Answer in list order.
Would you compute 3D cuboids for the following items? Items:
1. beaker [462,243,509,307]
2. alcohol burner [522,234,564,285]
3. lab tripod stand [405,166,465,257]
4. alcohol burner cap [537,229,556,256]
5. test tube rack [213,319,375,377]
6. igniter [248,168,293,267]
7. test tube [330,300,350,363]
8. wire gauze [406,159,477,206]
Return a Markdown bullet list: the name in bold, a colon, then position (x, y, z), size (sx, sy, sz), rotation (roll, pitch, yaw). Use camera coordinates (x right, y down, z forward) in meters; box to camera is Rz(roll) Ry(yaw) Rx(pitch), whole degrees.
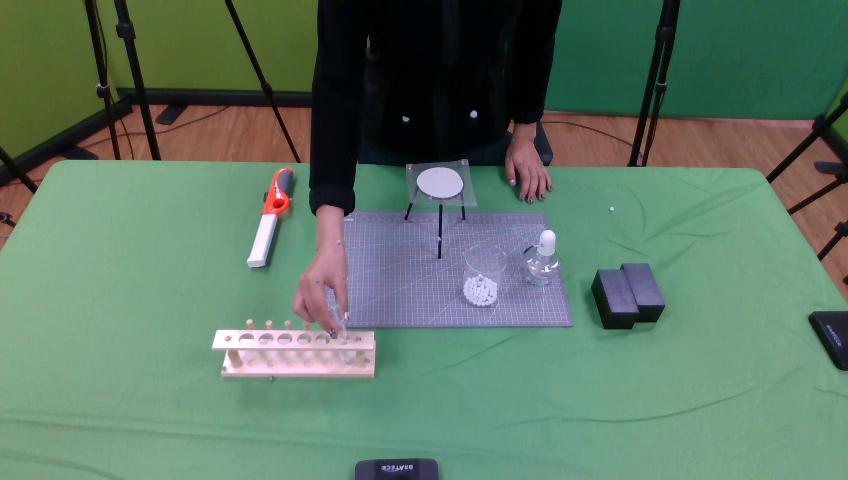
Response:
- **beaker**: position (0.105, 0.064, 1.086), size (0.084, 0.101, 0.073), rotation (18, 47, 14)
- **alcohol burner**: position (0.223, 0.027, 1.120), size (0.078, 0.119, 0.077), rotation (2, 48, -2)
- **lab tripod stand**: position (0.030, -0.062, 1.179), size (0.148, 0.132, 0.147), rotation (3, 47, -3)
- **alcohol burner cap**: position (0.223, 0.002, 1.095), size (0.034, 0.048, 0.033), rotation (-1, 44, 1)
- **test tube rack**: position (-0.202, 0.170, 0.976), size (0.242, 0.085, 0.066), rotation (1, 46, -3)
- **igniter**: position (-0.308, -0.055, 1.225), size (0.057, 0.025, 0.275), rotation (-3, 45, 6)
- **test tube**: position (-0.128, 0.144, 0.931), size (0.017, 0.151, 0.017), rotation (0, 46, 1)
- **wire gauze**: position (0.031, -0.107, 1.129), size (0.125, 0.011, 0.120), rotation (-1, 48, -5)
